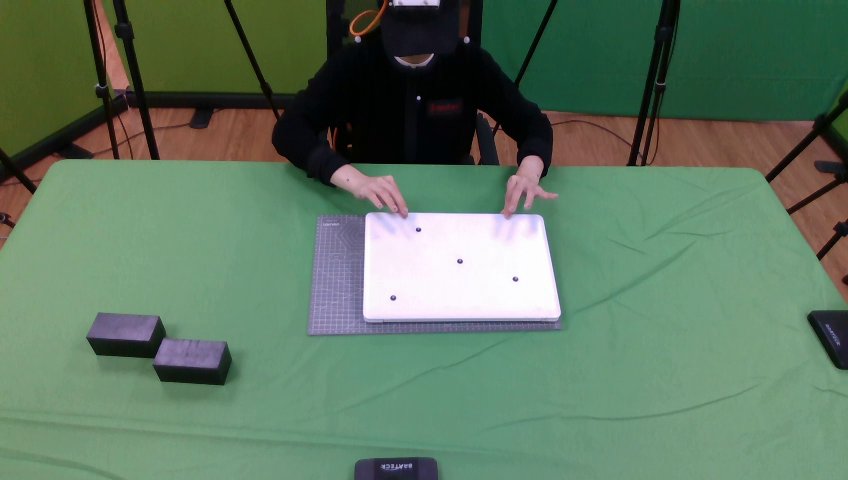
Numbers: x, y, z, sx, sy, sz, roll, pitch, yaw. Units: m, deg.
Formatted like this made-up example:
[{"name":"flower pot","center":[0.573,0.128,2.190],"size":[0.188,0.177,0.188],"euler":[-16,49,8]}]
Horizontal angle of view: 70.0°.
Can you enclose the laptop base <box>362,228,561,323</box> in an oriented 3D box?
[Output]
[{"name":"laptop base","center":[0.064,0.063,1.143],"size":[0.355,0.023,0.234],"euler":[0,43,-4]}]

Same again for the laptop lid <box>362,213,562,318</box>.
[{"name":"laptop lid","center":[0.065,0.041,1.119],"size":[0.357,0.013,0.240],"euler":[1,54,-3]}]
